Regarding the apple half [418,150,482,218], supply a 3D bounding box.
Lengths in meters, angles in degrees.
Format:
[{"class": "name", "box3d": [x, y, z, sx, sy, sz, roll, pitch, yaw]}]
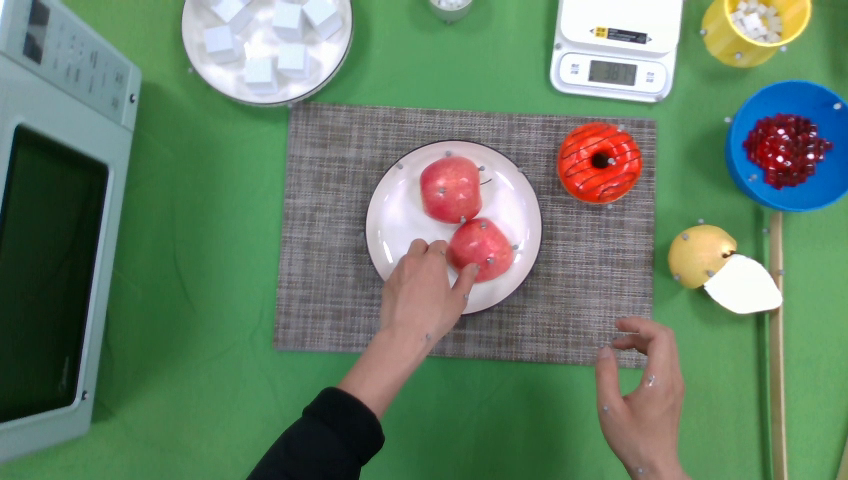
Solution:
[{"class": "apple half", "box3d": [0.030, -0.067, 0.702, 0.074, 0.053, 0.080, -3, 88, 2]}]

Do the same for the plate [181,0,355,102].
[{"class": "plate", "box3d": [-0.187, -0.267, 0.742, 0.208, 0.039, 0.207, 0, 85, 0]}]

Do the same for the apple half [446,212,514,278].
[{"class": "apple half", "box3d": [0.066, 0.006, 0.706, 0.081, 0.033, 0.081, 0, 80, -2]}]

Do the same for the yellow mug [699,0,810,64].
[{"class": "yellow mug", "box3d": [0.386, -0.286, 0.727, 0.100, 0.064, 0.130, -29, 85, -2]}]

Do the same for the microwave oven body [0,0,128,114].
[{"class": "microwave oven body", "box3d": [-0.526, -0.033, 0.607, 0.326, 0.260, 0.440, 6, 85, 0]}]

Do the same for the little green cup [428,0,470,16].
[{"class": "little green cup", "box3d": [0.031, -0.308, 0.745, 0.061, 0.039, 0.061, 0, 84, 1]}]

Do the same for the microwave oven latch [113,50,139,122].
[{"class": "microwave oven latch", "box3d": [-0.359, -0.183, 0.716, 0.030, 0.029, 0.079, 7, 86, 1]}]

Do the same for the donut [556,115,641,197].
[{"class": "donut", "box3d": [0.205, -0.099, 0.718, 0.099, 0.048, 0.099, 0, 85, 3]}]

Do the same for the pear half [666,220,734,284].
[{"class": "pear half", "box3d": [0.309, 0.007, 0.680, 0.056, 0.110, 0.076, 35, 82, 5]}]

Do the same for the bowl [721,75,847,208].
[{"class": "bowl", "box3d": [0.411, -0.106, 0.706, 0.151, 0.077, 0.151, 0, 86, 1]}]

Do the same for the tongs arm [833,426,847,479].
[{"class": "tongs arm", "box3d": [0.510, 0.167, 0.708, 0.028, 0.028, 0.387, 19, 85, -7]}]

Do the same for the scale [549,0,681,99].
[{"class": "scale", "box3d": [0.237, -0.280, 0.744, 0.148, 0.031, 0.200, 8, 85, 1]}]

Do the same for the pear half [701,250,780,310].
[{"class": "pear half", "box3d": [0.369, 0.051, 0.713, 0.087, 0.031, 0.070, 29, 81, 16]}]

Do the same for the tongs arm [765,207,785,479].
[{"class": "tongs arm", "box3d": [0.424, 0.154, 0.704, 0.051, 0.026, 0.384, 4, 86, -5]}]

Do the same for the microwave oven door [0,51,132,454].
[{"class": "microwave oven door", "box3d": [-0.385, 0.024, 0.596, 0.039, 0.244, 0.355, 5, 85, 1]}]

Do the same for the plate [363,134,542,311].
[{"class": "plate", "box3d": [0.034, -0.020, 0.715, 0.209, 0.038, 0.208, 0, 84, 0]}]
